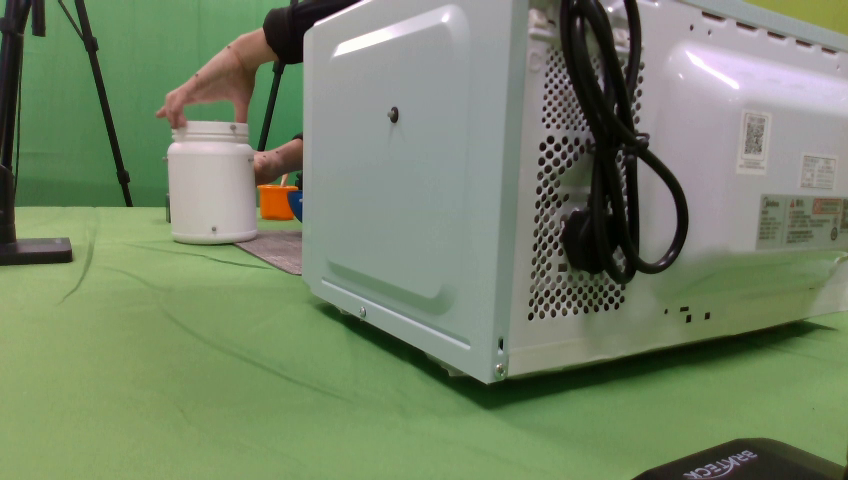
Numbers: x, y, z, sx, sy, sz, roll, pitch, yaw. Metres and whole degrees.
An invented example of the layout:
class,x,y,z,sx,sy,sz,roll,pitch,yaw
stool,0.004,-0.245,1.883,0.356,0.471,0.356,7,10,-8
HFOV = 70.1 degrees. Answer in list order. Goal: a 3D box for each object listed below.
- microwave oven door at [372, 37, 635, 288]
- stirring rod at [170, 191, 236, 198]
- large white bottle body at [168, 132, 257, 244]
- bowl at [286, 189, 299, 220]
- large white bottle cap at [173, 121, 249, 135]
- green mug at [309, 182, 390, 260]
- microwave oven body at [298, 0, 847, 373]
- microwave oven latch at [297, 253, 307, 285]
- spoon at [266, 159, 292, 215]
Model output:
class,x,y,z,sx,sy,sz,roll,pitch,yaw
microwave oven door,0.109,-0.080,0.686,0.358,0.243,0.039,-2,9,-33
stirring rod,-0.465,-0.098,1.283,0.014,0.006,0.177,42,21,17
large white bottle body,-0.340,-0.092,0.977,0.131,0.184,0.130,0,8,0
bowl,-0.179,-0.051,1.114,0.151,0.077,0.151,3,8,0
large white bottle cap,-0.339,-0.178,0.965,0.115,0.018,0.115,1,8,0
green mug,-0.102,-0.029,0.864,0.126,0.105,0.092,-3,9,-40
microwave oven body,0.151,-0.055,0.542,0.444,0.260,0.324,-2,7,-33
microwave oven latch,-0.082,0.027,0.582,0.079,0.029,0.030,-2,7,-33
spoon,-0.334,-0.127,1.424,0.041,0.193,0.021,2,-38,5
